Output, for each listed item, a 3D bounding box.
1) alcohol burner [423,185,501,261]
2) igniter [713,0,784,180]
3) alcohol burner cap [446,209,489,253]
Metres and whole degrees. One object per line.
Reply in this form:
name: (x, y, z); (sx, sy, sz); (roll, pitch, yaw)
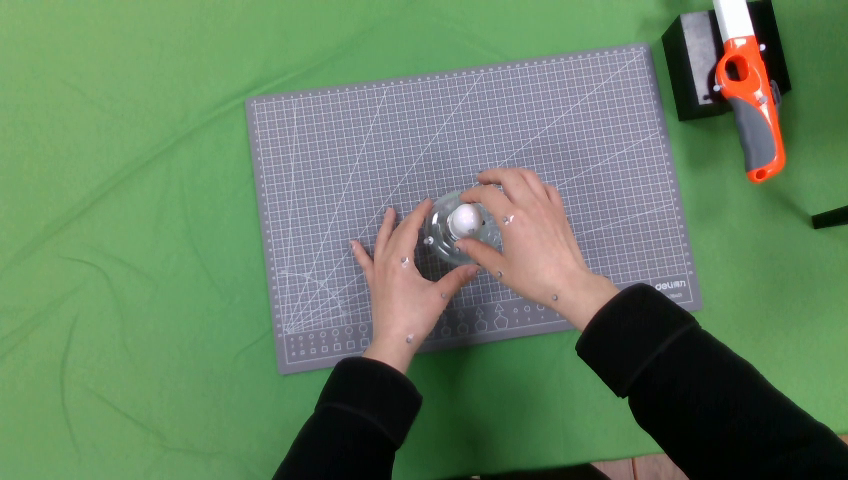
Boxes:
alcohol burner: (0.038, -0.019, 0.591); (0.078, 0.119, 0.077); (0, 84, 0)
igniter: (0.321, -0.196, 0.617); (0.057, 0.025, 0.275); (-8, 81, -1)
alcohol burner cap: (0.039, -0.011, 0.562); (0.034, 0.048, 0.033); (-9, 65, 21)
